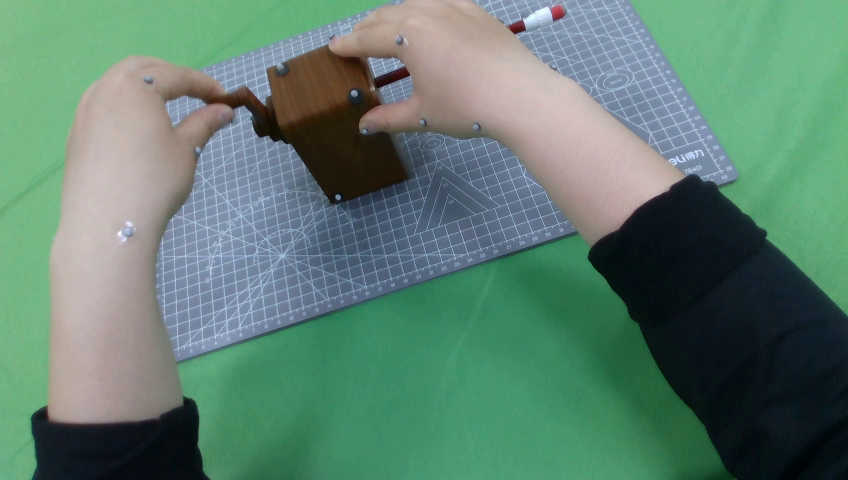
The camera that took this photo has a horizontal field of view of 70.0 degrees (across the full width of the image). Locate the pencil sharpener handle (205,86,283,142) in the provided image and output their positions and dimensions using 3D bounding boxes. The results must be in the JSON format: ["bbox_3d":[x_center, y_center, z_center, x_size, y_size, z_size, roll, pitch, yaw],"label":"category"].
[{"bbox_3d":[-0.123,-0.085,0.419,0.030,0.068,0.036,-21,76,3],"label":"pencil sharpener handle"}]

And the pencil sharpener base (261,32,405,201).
[{"bbox_3d":[-0.067,-0.088,0.457,0.077,0.108,0.061,-21,60,3],"label":"pencil sharpener base"}]

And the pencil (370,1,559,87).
[{"bbox_3d":[0.003,-0.128,0.427,0.194,0.012,0.012,-21,60,3],"label":"pencil"}]
